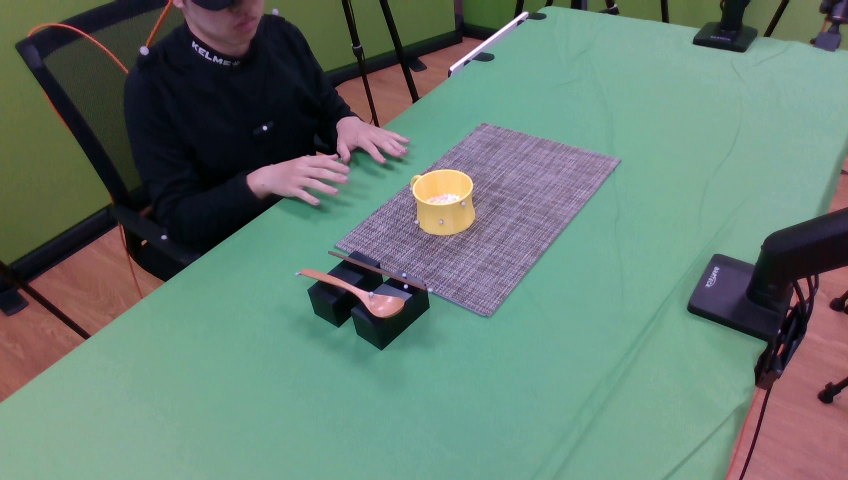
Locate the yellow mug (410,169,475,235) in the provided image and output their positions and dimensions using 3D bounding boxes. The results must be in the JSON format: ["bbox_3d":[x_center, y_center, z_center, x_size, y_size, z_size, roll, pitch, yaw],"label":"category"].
[{"bbox_3d":[0.022,-0.070,1.007,0.129,0.064,0.100,29,52,36],"label":"yellow mug"}]

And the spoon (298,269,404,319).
[{"bbox_3d":[-0.106,0.068,0.831,0.192,0.022,0.042,21,50,31],"label":"spoon"}]

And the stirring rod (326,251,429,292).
[{"bbox_3d":[-0.068,0.043,0.858,0.175,0.006,0.014,18,9,27],"label":"stirring rod"}]
